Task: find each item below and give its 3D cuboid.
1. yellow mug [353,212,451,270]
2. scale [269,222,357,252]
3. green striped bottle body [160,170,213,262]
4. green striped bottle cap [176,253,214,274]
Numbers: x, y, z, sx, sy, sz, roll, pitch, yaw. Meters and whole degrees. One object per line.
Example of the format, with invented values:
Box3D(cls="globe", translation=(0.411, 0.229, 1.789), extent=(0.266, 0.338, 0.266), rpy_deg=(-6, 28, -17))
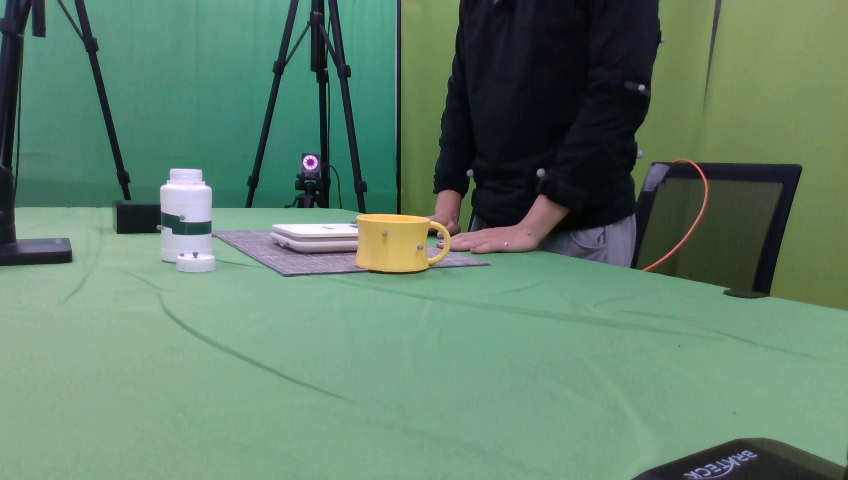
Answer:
Box3D(cls="yellow mug", translation=(-0.027, 0.000, 0.807), extent=(0.131, 0.064, 0.099), rpy_deg=(2, 8, -13))
Box3D(cls="scale", translation=(-0.132, -0.007, 0.965), extent=(0.202, 0.031, 0.148), rpy_deg=(-2, 8, -31))
Box3D(cls="green striped bottle body", translation=(-0.312, -0.033, 0.797), extent=(0.063, 0.119, 0.063), rpy_deg=(2, 7, 0))
Box3D(cls="green striped bottle cap", translation=(-0.280, 0.029, 0.740), extent=(0.044, 0.020, 0.044), rpy_deg=(7, 4, 0))
